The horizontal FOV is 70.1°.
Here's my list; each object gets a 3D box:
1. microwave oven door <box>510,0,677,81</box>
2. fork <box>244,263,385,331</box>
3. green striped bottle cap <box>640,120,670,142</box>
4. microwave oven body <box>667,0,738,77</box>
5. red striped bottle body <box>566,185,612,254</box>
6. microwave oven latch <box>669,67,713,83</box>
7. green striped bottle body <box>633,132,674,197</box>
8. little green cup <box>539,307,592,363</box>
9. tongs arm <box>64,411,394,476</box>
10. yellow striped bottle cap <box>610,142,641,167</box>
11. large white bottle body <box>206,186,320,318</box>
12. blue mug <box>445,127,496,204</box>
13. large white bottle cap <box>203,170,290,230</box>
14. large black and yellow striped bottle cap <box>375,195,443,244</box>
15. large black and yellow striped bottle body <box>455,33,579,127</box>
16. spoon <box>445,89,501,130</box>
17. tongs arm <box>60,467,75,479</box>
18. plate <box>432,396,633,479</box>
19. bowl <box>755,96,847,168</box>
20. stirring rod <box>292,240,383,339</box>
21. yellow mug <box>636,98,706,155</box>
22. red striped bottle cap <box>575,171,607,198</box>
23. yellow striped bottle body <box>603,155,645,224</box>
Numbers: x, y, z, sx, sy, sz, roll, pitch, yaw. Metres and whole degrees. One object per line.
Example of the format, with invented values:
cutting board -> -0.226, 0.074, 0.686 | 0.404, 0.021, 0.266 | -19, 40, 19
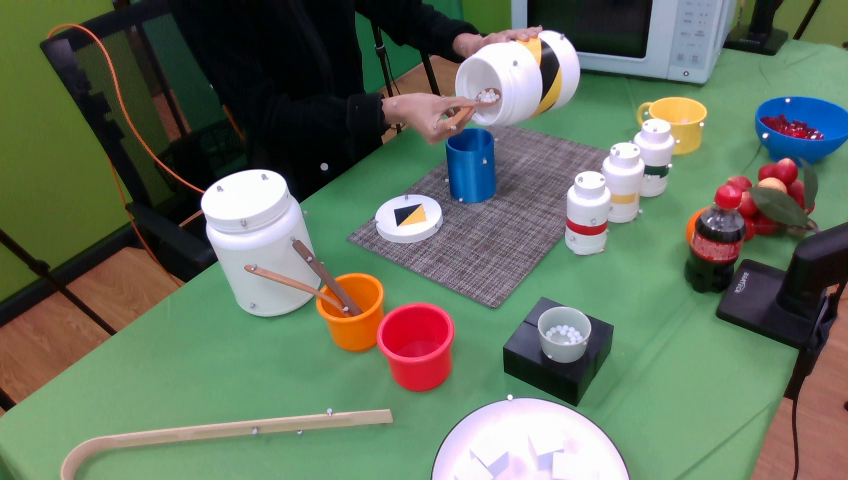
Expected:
microwave oven door -> 0.354, -0.478, 1.290 | 0.353, 0.245, 0.039 | 15, 45, 25
fork -> -0.141, 0.077, 0.807 | 0.209, 0.018, 0.028 | 30, 42, -24
green striped bottle cap -> 0.370, -0.174, 0.968 | 0.044, 0.020, 0.044 | -3, 41, 3
microwave oven body -> 0.462, -0.552, 1.369 | 0.439, 0.261, 0.326 | 15, 45, 26
red striped bottle body -> 0.248, -0.041, 0.910 | 0.063, 0.120, 0.062 | -4, 41, 4
microwave oven latch -> 0.556, -0.348, 1.262 | 0.078, 0.029, 0.030 | 15, 46, 26
green striped bottle body -> 0.376, -0.135, 1.001 | 0.063, 0.120, 0.063 | -5, 40, 5
little green cup -> 0.168, 0.115, 0.721 | 0.061, 0.039, 0.061 | -4, 43, 4
tongs arm -> -0.228, 0.241, 0.715 | 0.385, 0.026, 0.050 | -5, 43, 4
yellow striped bottle cap -> 0.308, -0.131, 0.925 | 0.044, 0.019, 0.044 | -4, 45, 5
large white bottle body -> -0.233, 0.008, 0.876 | 0.130, 0.185, 0.130 | -4, 40, 4
blue mug -> 0.082, -0.139, 1.058 | 0.082, 0.106, 0.116 | -2, 41, 6
large white bottle cap -> -0.241, -0.057, 0.822 | 0.115, 0.018, 0.114 | -4, 41, 4
large black and yellow striped bottle cap -> -0.026, -0.036, 1.022 | 0.115, 0.019, 0.114 | -4, 41, 4
large black and yellow striped bottle body -> 0.154, -0.263, 1.001 | 0.185, 0.131, 0.129 | -25, 42, -35
spoon -> 0.075, -0.208, 0.952 | 0.041, 0.021, 0.194 | 20, 32, 20
tongs arm -> -0.239, 0.301, 0.648 | 0.386, 0.028, 0.028 | 6, 49, 16
plate -> 0.112, 0.261, 0.634 | 0.209, 0.038, 0.208 | -5, 40, 4
bowl -> 0.645, -0.177, 1.041 | 0.151, 0.077, 0.150 | -5, 40, 4
stirring rod -> -0.118, 0.068, 0.826 | 0.176, 0.006, 0.014 | 49, 60, -4
yellow mug -> 0.453, -0.217, 1.128 | 0.100, 0.064, 0.129 | -34, 46, -27
red striped bottle cap -> 0.242, -0.082, 0.876 | 0.044, 0.018, 0.044 | -5, 44, 5
yellow striped bottle body -> 0.314, -0.090, 0.958 | 0.063, 0.121, 0.062 | -4, 40, 4
